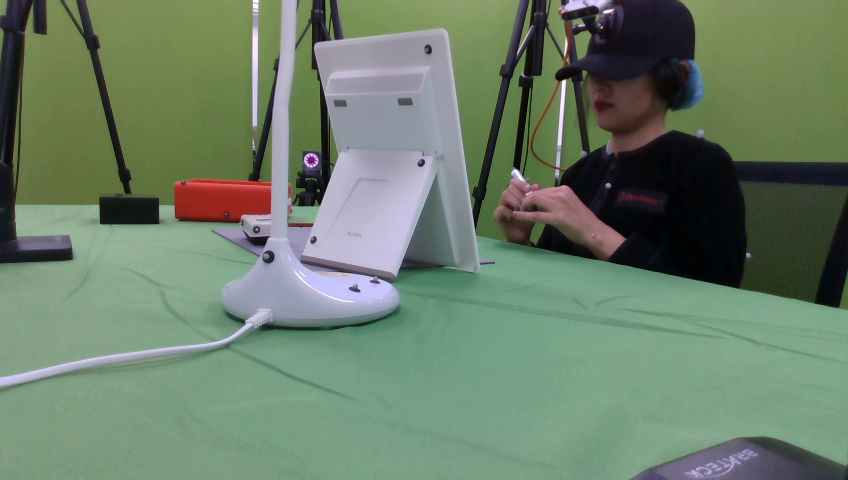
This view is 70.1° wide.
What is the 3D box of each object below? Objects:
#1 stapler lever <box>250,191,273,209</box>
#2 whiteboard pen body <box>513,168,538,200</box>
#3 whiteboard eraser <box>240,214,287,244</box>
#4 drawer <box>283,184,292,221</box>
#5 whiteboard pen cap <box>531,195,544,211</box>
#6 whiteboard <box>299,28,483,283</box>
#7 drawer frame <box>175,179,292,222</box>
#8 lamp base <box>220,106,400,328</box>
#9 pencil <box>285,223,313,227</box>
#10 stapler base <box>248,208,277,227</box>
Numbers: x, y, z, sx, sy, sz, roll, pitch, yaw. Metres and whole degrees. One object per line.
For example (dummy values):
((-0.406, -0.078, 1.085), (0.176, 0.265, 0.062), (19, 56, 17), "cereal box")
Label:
((-0.351, -0.086, 1.305), (0.027, 0.040, 0.118), (0, 5, -3), "stapler lever")
((0.186, -0.096, 1.099), (0.017, 0.017, 0.140), (1, 31, -10), "whiteboard pen body")
((-0.256, -0.018, 0.958), (0.056, 0.042, 0.112), (0, 8, -25), "whiteboard eraser")
((-0.397, -0.086, 1.314), (0.212, 0.073, 0.194), (1, 8, -9), "drawer")
((0.196, -0.065, 1.048), (0.018, 0.018, 0.033), (1, 30, -9), "whiteboard pen cap")
((-0.075, -0.082, 0.741), (0.216, 0.305, 0.144), (9, 30, 38), "whiteboard")
((-0.402, -0.087, 1.311), (0.214, 0.082, 0.201), (1, 8, -9), "drawer frame")
((-0.101, -0.023, 0.531), (0.160, 0.180, 0.179), (4, 10, 10), "lamp base")
((-0.234, -0.030, 1.198), (0.195, 0.012, 0.012), (0, 8, -20), "pencil")
((-0.350, -0.053, 1.310), (0.041, 0.024, 0.130), (1, 13, -3), "stapler base")
